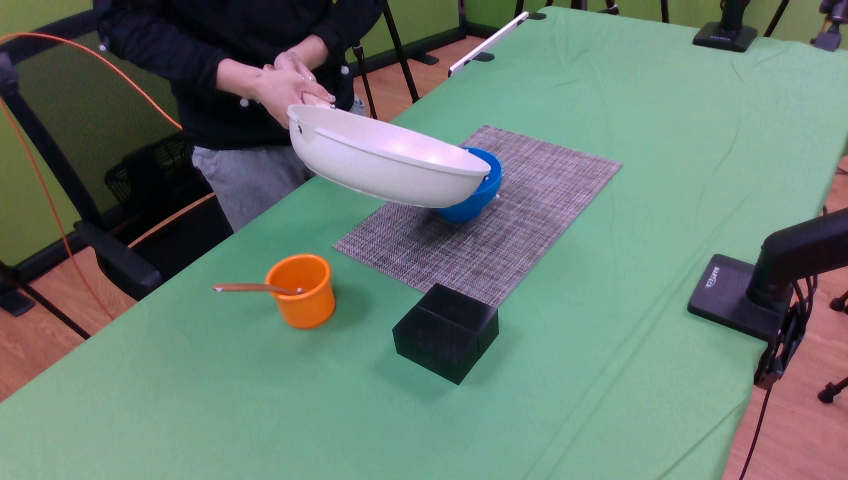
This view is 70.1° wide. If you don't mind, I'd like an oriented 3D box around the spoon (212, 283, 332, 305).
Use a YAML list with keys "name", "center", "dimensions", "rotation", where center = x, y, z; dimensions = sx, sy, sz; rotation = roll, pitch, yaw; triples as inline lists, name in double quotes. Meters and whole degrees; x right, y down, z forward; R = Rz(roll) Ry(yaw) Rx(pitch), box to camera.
- name: "spoon"
  center: [-0.201, 0.069, 0.819]
  dimensions: [0.041, 0.195, 0.021]
  rotation: [32, 99, 37]

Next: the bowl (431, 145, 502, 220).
- name: "bowl"
  center: [0.057, -0.086, 1.010]
  dimensions: [0.151, 0.077, 0.150]
  rotation: [-4, 41, 4]

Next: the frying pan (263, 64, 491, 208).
- name: "frying pan"
  center: [-0.116, -0.174, 0.913]
  dimensions: [0.309, 0.102, 0.483]
  rotation: [2, 31, -47]
